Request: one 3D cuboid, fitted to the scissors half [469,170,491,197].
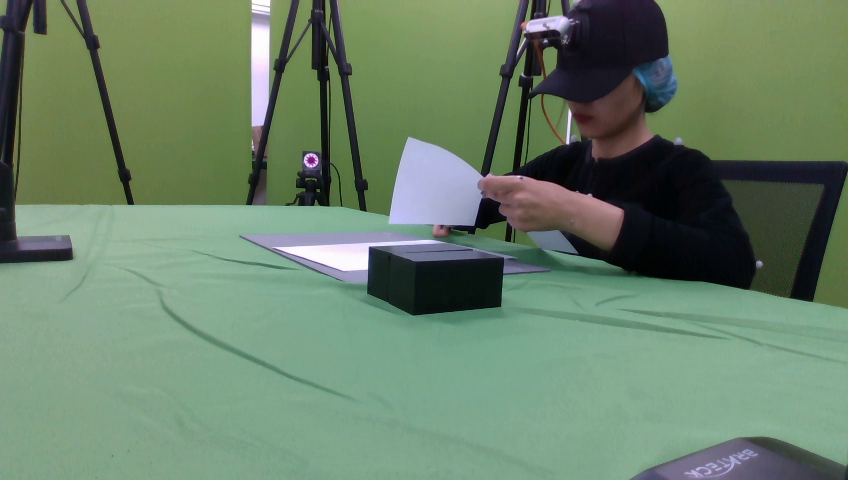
[{"bbox_3d":[0.096,-0.091,1.019,0.013,0.040,0.175,11,13,-7],"label":"scissors half"}]

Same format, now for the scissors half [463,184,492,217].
[{"bbox_3d":[0.090,-0.070,1.019,0.013,0.040,0.175,16,-13,-6],"label":"scissors half"}]
